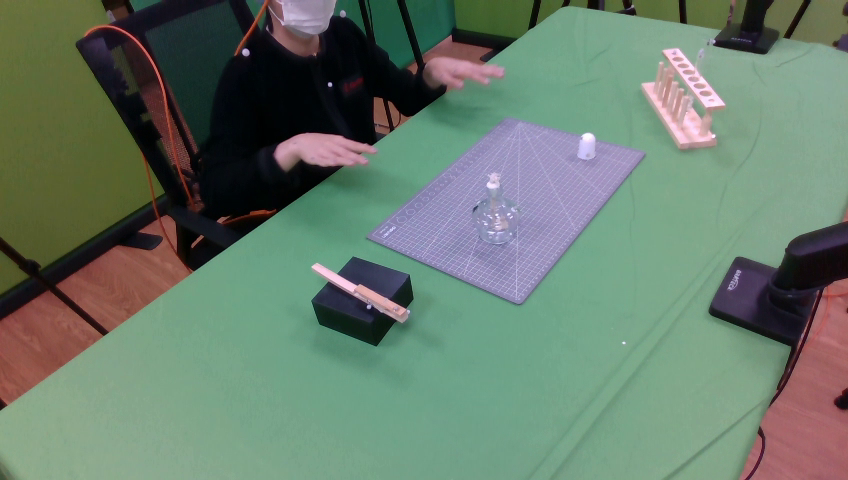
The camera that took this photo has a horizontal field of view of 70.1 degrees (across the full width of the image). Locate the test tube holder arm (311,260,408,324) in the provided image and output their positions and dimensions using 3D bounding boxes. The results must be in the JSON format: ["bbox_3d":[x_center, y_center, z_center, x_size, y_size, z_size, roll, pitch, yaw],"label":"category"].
[{"bbox_3d":[-0.092,0.069,0.832,0.177,0.013,0.015,26,52,32],"label":"test tube holder arm"}]

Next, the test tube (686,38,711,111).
[{"bbox_3d":[0.508,-0.305,1.128,0.017,0.151,0.017,-2,46,3],"label":"test tube"}]

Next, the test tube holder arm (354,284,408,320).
[{"bbox_3d":[-0.059,0.081,0.805,0.087,0.010,0.015,26,52,32],"label":"test tube holder arm"}]

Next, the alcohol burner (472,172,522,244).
[{"bbox_3d":[0.112,-0.053,0.942,0.078,0.119,0.077,-6,40,5],"label":"alcohol burner"}]

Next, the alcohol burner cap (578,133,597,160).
[{"bbox_3d":[0.301,-0.174,1.111,0.034,0.048,0.033,-5,41,4],"label":"alcohol burner cap"}]

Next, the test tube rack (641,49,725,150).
[{"bbox_3d":[0.495,-0.279,1.175,0.067,0.085,0.241,-5,41,3],"label":"test tube rack"}]
